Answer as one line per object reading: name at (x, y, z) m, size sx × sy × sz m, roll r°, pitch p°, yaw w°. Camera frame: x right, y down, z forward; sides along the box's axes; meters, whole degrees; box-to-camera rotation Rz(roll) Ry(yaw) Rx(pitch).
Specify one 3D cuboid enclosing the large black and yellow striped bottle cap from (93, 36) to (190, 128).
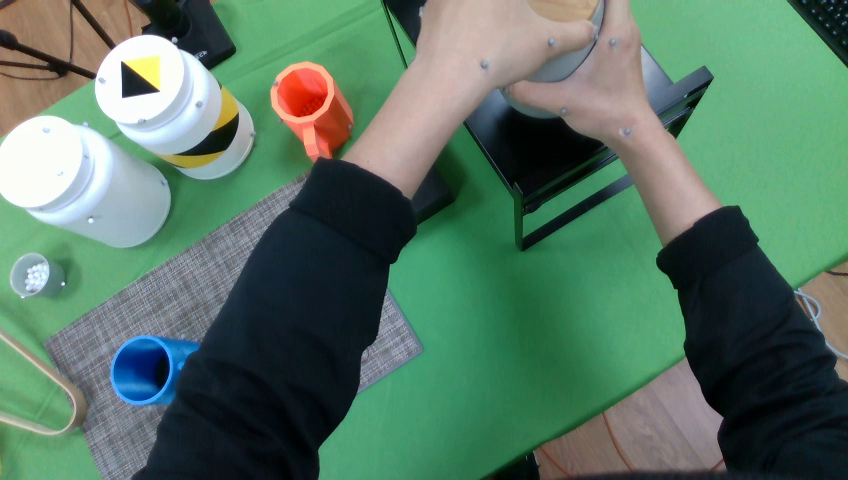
large black and yellow striped bottle cap at (-0.338, -0.190, 0.724) m, size 0.115 × 0.019 × 0.114 m, roll -2°, pitch 77°, yaw 7°

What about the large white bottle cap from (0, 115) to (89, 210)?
large white bottle cap at (-0.454, -0.092, 0.718) m, size 0.114 × 0.018 × 0.114 m, roll -2°, pitch 78°, yaw 8°

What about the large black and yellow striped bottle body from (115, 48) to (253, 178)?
large black and yellow striped bottle body at (-0.324, -0.170, 0.805) m, size 0.130 × 0.185 × 0.130 m, roll -2°, pitch 77°, yaw 8°

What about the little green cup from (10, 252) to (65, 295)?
little green cup at (-0.549, 0.050, 0.864) m, size 0.061 × 0.039 × 0.061 m, roll -2°, pitch 78°, yaw 7°

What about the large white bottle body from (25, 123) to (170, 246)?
large white bottle body at (-0.441, -0.073, 0.800) m, size 0.130 × 0.185 × 0.130 m, roll -2°, pitch 77°, yaw 8°

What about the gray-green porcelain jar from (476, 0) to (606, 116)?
gray-green porcelain jar at (0.105, -0.178, 0.537) m, size 0.105 × 0.127 × 0.105 m, roll -5°, pitch 75°, yaw 18°

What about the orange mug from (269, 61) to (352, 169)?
orange mug at (-0.150, -0.165, 0.823) m, size 0.083 × 0.101 × 0.125 m, roll -10°, pitch 72°, yaw 6°

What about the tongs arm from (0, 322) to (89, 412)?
tongs arm at (-0.614, 0.116, 0.843) m, size 0.386 × 0.028 × 0.028 m, roll 33°, pitch 75°, yaw 7°

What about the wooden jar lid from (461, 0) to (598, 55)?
wooden jar lid at (0.081, -0.193, 0.461) m, size 0.108 × 0.021 × 0.108 m, roll -1°, pitch 89°, yaw 23°

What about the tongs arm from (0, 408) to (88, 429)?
tongs arm at (-0.650, 0.191, 0.828) m, size 0.384 × 0.026 × 0.050 m, roll 19°, pitch 77°, yaw 5°

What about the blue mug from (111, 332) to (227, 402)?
blue mug at (-0.310, 0.160, 0.767) m, size 0.116 × 0.106 × 0.082 m, roll -8°, pitch 76°, yaw 6°
